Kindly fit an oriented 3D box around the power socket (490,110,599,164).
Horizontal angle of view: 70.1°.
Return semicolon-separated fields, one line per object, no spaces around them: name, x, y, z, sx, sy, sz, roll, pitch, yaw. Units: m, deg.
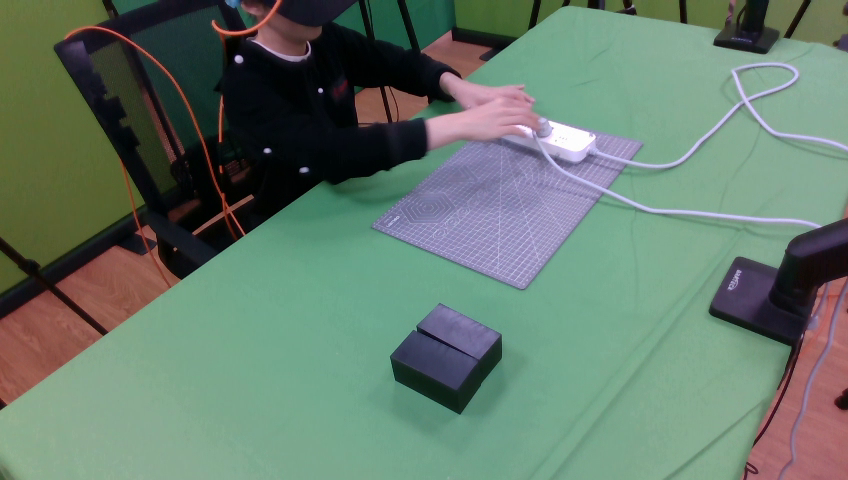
power socket;0.226;-0.202;1.166;0.225;0.033;0.072;27;51;34

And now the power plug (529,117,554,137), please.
power plug;0.212;-0.200;1.130;0.073;0.053;0.035;-29;44;-25
